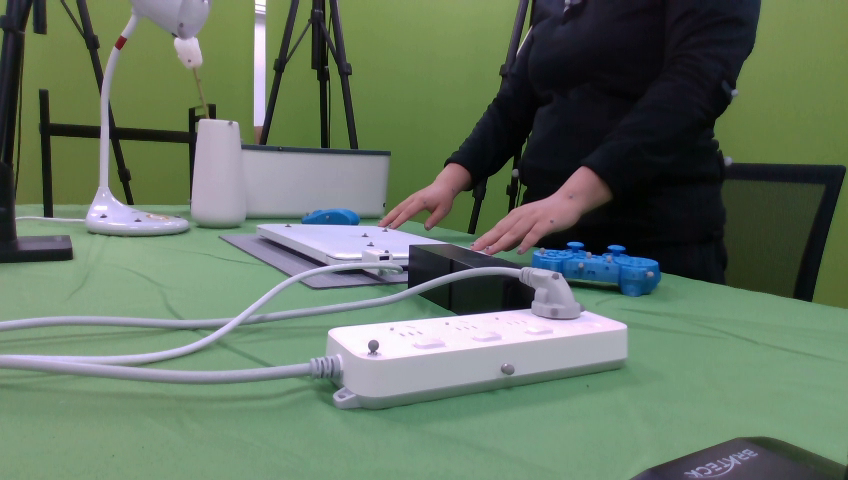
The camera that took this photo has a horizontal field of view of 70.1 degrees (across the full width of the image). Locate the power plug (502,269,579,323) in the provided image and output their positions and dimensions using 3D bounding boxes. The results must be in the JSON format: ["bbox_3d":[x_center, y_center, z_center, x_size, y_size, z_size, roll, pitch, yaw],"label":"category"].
[{"bbox_3d":[0.091,0.051,0.469,0.035,0.052,0.072,1,5,-18],"label":"power plug"}]

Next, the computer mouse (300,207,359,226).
[{"bbox_3d":[-0.194,-0.046,1.241,0.117,0.041,0.063,0,10,11],"label":"computer mouse"}]

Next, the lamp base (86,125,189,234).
[{"bbox_3d":[-0.497,-0.105,1.027,0.179,0.180,0.160,1,7,2],"label":"lamp base"}]

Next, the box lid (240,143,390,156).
[{"bbox_3d":[-0.295,-0.217,1.464,0.373,0.015,0.262,-1,8,-30],"label":"box lid"}]

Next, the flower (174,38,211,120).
[{"bbox_3d":[-0.401,-0.207,1.141,0.038,0.361,0.044,-14,3,44],"label":"flower"}]

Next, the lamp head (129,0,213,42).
[{"bbox_3d":[-0.423,-0.394,0.980,0.123,0.112,0.112,20,7,-3],"label":"lamp head"}]

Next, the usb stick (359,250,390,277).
[{"bbox_3d":[-0.061,0.026,0.708,0.021,0.027,0.059,-5,6,-28],"label":"usb stick"}]

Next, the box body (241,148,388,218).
[{"bbox_3d":[-0.297,-0.143,1.475,0.366,0.160,0.253,-1,9,-30],"label":"box body"}]

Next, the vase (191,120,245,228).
[{"bbox_3d":[-0.389,-0.124,1.143,0.098,0.200,0.098,3,9,0],"label":"vase"}]

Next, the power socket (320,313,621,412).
[{"bbox_3d":[0.038,0.075,0.410,0.228,0.032,0.072,-2,8,-29],"label":"power socket"}]

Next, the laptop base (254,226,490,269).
[{"bbox_3d":[-0.096,0.011,0.911,0.237,0.023,0.352,3,6,-32],"label":"laptop base"}]

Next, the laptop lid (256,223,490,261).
[{"bbox_3d":[-0.092,0.000,0.911,0.243,0.013,0.355,1,7,-30],"label":"laptop lid"}]

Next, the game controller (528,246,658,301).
[{"bbox_3d":[0.202,0.037,0.733,0.155,0.051,0.097,5,10,19],"label":"game controller"}]
